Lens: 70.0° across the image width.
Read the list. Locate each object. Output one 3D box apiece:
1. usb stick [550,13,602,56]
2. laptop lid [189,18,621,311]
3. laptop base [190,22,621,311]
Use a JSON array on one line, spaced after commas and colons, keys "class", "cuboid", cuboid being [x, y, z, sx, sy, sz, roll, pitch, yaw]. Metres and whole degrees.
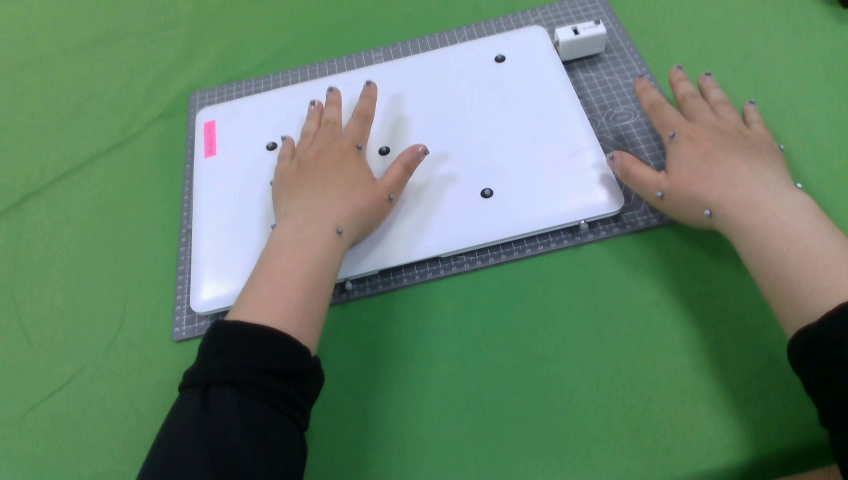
[{"class": "usb stick", "cuboid": [0.136, -0.192, 0.572, 0.059, 0.027, 0.021, -14, 54, 4]}, {"class": "laptop lid", "cuboid": [-0.036, -0.080, 0.531, 0.357, 0.013, 0.239, -13, 58, 2]}, {"class": "laptop base", "cuboid": [-0.035, -0.076, 0.542, 0.354, 0.023, 0.233, -14, 59, 1]}]
